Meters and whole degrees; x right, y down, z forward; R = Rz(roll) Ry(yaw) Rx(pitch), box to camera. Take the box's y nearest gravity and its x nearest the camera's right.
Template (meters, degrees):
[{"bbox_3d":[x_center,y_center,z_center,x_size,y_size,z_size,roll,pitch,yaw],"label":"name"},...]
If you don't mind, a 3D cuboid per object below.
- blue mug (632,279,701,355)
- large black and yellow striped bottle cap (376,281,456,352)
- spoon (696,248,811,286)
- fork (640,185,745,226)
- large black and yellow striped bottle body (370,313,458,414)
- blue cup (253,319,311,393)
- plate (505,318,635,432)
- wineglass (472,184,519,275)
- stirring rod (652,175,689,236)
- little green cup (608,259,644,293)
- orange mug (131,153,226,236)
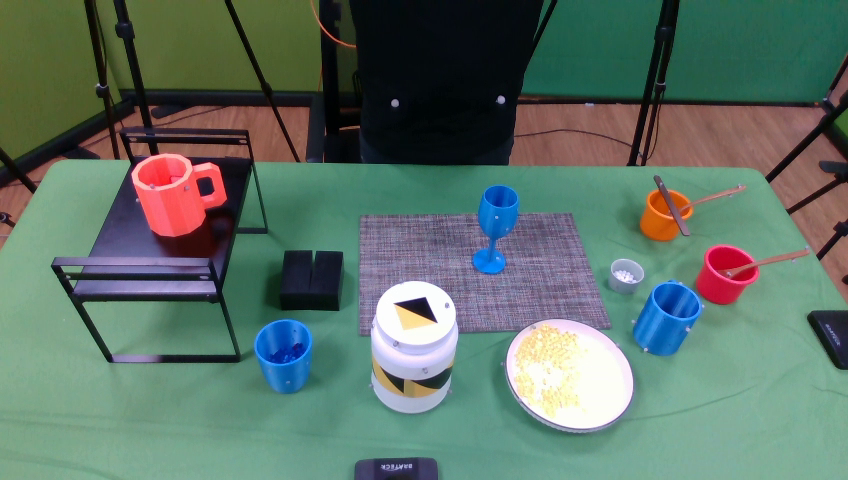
[{"bbox_3d":[0.419,0.123,1.052,0.082,0.106,0.116,14,47,9],"label":"blue mug"},{"bbox_3d":[-0.011,0.107,0.863,0.115,0.019,0.114,2,47,-2],"label":"large black and yellow striped bottle cap"},{"bbox_3d":[0.600,0.048,1.112,0.193,0.022,0.041,-25,32,35],"label":"spoon"},{"bbox_3d":[0.534,-0.069,1.215,0.207,0.019,0.028,-26,27,33],"label":"fork"},{"bbox_3d":[-0.017,0.165,0.924,0.131,0.185,0.130,2,46,-2],"label":"large black and yellow striped bottle body"},{"bbox_3d":[-0.217,0.187,0.943,0.093,0.100,0.092,4,45,-3],"label":"blue cup"},{"bbox_3d":[0.235,0.221,0.991,0.209,0.038,0.208,2,45,-2],"label":"plate"},{"bbox_3d":[0.129,-0.018,1.113,0.074,0.173,0.073,2,46,-2],"label":"wineglass"},{"bbox_3d":[0.491,-0.072,1.211,0.014,0.006,0.175,-1,46,-6],"label":"stirring rod"},{"bbox_3d":[0.379,0.070,1.147,0.061,0.039,0.061,3,45,-3],"label":"little green cup"},{"bbox_3d":[-0.375,-0.075,0.937,0.126,0.101,0.083,-20,50,-17],"label":"orange mug"}]
